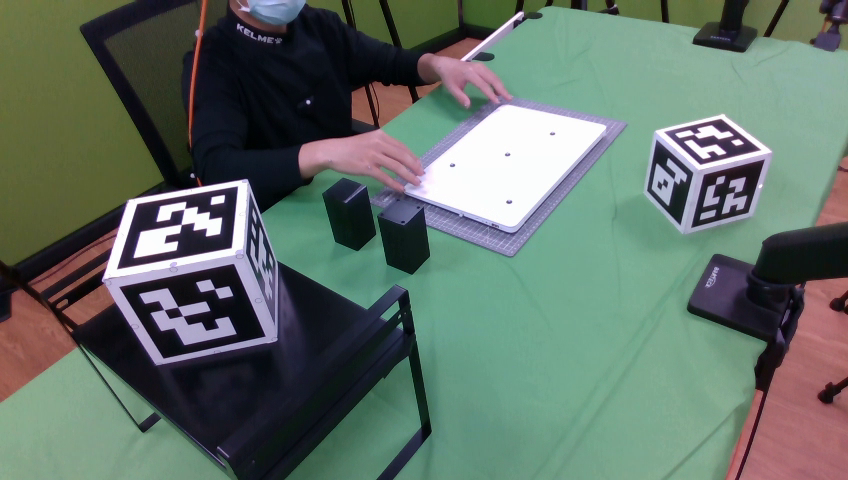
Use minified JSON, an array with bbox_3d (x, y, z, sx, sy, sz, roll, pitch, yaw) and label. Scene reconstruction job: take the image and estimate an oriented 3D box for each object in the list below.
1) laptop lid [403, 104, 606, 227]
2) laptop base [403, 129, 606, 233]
[{"bbox_3d":[0.153,-0.154,1.110,0.240,0.013,0.358,22,48,33],"label":"laptop lid"},{"bbox_3d":[0.156,-0.144,1.116,0.233,0.023,0.355,20,47,32],"label":"laptop base"}]
